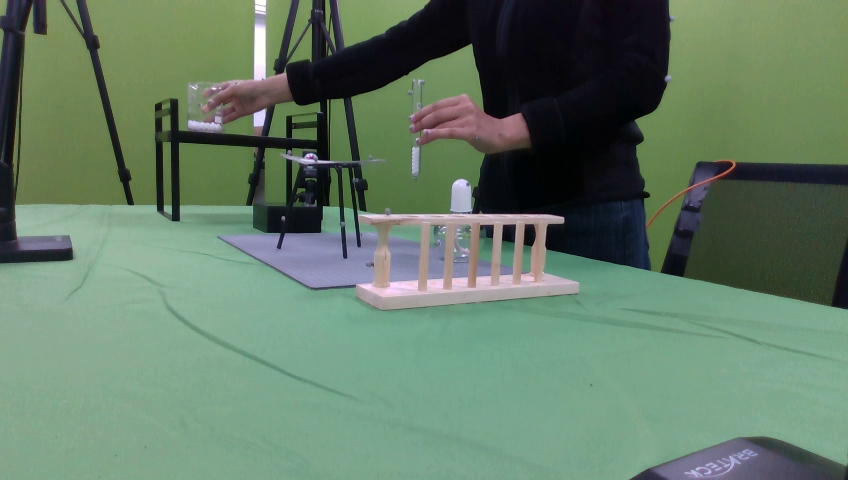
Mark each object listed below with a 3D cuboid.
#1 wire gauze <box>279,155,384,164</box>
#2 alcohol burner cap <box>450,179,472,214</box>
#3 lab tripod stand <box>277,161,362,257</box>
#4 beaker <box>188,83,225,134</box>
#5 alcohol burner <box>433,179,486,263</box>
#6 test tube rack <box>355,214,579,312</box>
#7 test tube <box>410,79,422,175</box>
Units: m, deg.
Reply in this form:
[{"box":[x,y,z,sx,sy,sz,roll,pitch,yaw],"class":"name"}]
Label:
[{"box":[-0.134,-0.114,0.875,0.122,0.011,0.124,-1,9,-30],"class":"wire gauze"},{"box":[0.053,-0.063,0.859,0.034,0.048,0.034,1,13,0],"class":"alcohol burner cap"},{"box":[-0.142,-0.049,0.884,0.148,0.131,0.148,1,9,0],"class":"lab tripod stand"},{"box":[-0.459,-0.275,1.269,0.074,0.100,0.084,3,6,8],"class":"beaker"},{"box":[0.051,-0.027,0.863,0.078,0.119,0.078,2,6,0],"class":"alcohol burner"},{"box":[0.053,0.018,0.640,0.243,0.085,0.066,-1,8,-29],"class":"test tube rack"},{"box":[-0.012,-0.177,0.954,0.017,0.150,0.017,1,9,0],"class":"test tube"}]
